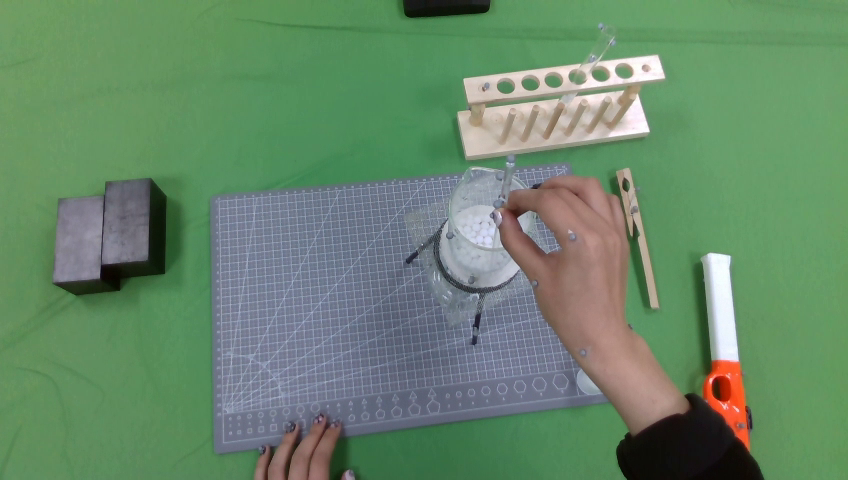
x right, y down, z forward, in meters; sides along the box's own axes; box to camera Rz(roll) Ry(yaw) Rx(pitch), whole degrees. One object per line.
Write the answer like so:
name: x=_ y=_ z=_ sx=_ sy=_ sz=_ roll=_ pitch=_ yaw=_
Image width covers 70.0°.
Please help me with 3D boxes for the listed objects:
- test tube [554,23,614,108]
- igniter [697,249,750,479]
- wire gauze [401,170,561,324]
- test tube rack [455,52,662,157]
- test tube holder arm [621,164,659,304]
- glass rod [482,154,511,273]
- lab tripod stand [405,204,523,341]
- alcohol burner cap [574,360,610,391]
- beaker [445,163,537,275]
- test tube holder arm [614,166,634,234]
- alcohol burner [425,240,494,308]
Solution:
test tube: x=0.185 y=-0.201 z=0.716 sx=0.017 sy=0.151 sz=0.017 roll=3 pitch=69 yaw=-8
igniter: x=0.339 y=0.144 z=0.692 sx=0.057 sy=0.025 sz=0.275 roll=8 pitch=71 yaw=-11
wire gauze: x=0.054 y=0.003 z=0.594 sx=0.121 sy=0.011 sz=0.124 roll=-22 pitch=75 yaw=-7
test tube rack: x=0.166 y=-0.168 z=0.756 sx=0.243 sy=0.085 sz=0.066 roll=-8 pitch=71 yaw=-6
test tube holder arm: x=0.263 y=-0.009 z=0.742 sx=0.013 sy=0.015 sz=0.177 roll=-17 pitch=70 yaw=27
glass rod: x=0.056 y=-0.013 z=0.490 sx=0.008 sy=0.201 sz=0.008 roll=0 pitch=65 yaw=1
lab tripod stand: x=0.046 y=0.026 z=0.655 sx=0.148 sy=0.132 sz=0.147 roll=0 pitch=72 yaw=-1
alcohol burner cap: x=0.188 y=0.148 z=0.671 sx=0.034 sy=0.048 sz=0.033 roll=1 pitch=71 yaw=-3
beaker: x=0.054 y=-0.015 z=0.550 sx=0.074 sy=0.101 sz=0.083 roll=-21 pitch=73 yaw=-8
test tube holder arm: x=0.253 y=-0.050 z=0.758 sx=0.010 sy=0.015 sz=0.087 roll=-16 pitch=71 yaw=27
alcohol burner: x=0.040 y=0.032 z=0.664 sx=0.078 sy=0.120 sz=0.077 roll=1 pitch=69 yaw=-2
